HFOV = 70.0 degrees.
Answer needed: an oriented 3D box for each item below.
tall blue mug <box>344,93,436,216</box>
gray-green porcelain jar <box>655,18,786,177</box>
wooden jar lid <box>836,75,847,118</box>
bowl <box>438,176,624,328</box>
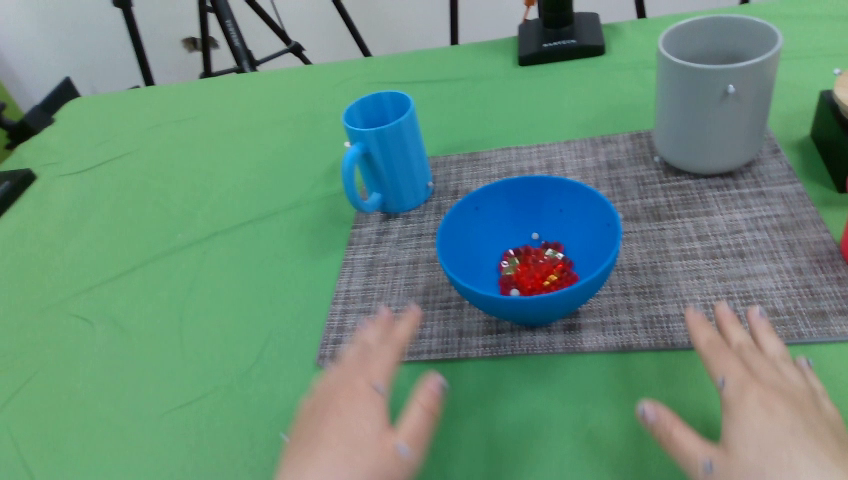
[{"bbox_3d":[-0.036,-0.082,0.645,0.077,0.109,0.106,-4,42,11],"label":"tall blue mug"},{"bbox_3d":[0.284,-0.134,0.594,0.106,0.128,0.105,-8,42,8],"label":"gray-green porcelain jar"},{"bbox_3d":[0.436,-0.126,0.549,0.108,0.021,0.107,-9,41,8],"label":"wooden jar lid"},{"bbox_3d":[0.092,0.022,0.515,0.151,0.077,0.150,-8,41,8],"label":"bowl"}]
